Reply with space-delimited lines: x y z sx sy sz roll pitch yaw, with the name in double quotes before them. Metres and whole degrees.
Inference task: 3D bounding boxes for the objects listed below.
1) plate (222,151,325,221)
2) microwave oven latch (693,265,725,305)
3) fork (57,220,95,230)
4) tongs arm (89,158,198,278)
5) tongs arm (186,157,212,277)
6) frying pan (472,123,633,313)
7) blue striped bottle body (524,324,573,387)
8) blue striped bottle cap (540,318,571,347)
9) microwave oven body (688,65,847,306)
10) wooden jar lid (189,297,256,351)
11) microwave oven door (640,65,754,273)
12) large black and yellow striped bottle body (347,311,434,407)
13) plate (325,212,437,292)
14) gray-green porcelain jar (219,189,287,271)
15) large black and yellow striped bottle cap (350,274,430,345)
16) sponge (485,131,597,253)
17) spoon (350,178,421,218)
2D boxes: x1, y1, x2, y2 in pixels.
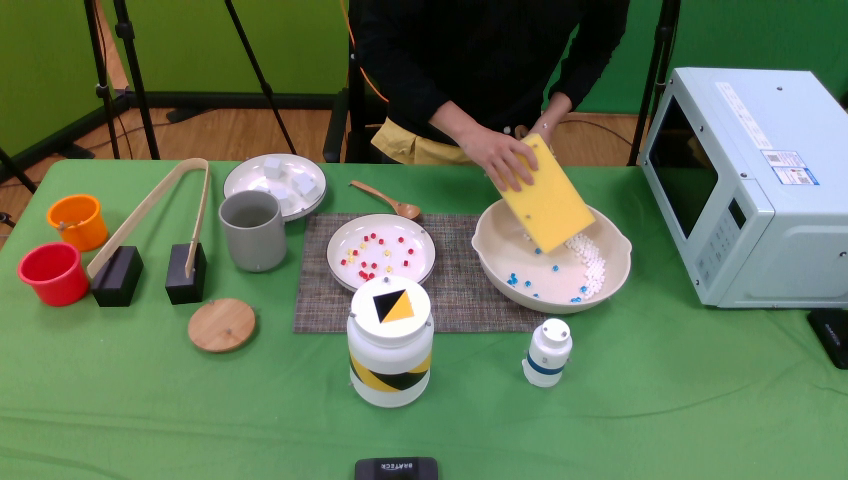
"plate" -0.310 -0.106 1.262 0.208 0.039 0.206 2 47 -2
"microwave oven latch" 0.523 0.082 1.116 0.030 0.029 0.078 2 46 -1
"fork" -0.624 -0.027 1.087 0.028 0.207 0.018 -3 92 -17
"tongs arm" -0.529 -0.057 1.164 0.028 0.028 0.385 1 36 8
"tongs arm" -0.445 -0.058 1.168 0.051 0.026 0.382 -5 37 -6
"frying pan" 0.235 -0.060 1.208 0.307 0.103 0.484 2 54 -6
"blue striped bottle body" 0.200 0.178 0.970 0.063 0.121 0.062 2 46 -1
"blue striped bottle cap" 0.203 0.142 0.933 0.044 0.021 0.044 3 49 -3
"microwave oven body" 0.669 -0.111 1.176 0.326 0.261 0.439 0 46 -3
"wooden jar lid" -0.342 0.145 1.033 0.108 0.021 0.107 2 45 -2
"microwave oven door" 0.523 -0.147 1.193 0.039 0.245 0.353 0 47 -3
"large black and yellow striped bottle body" -0.052 0.157 0.929 0.131 0.185 0.130 2 47 -2
"plate" -0.080 0.030 1.143 0.209 0.038 0.208 2 46 -2
"gray-green porcelain jar" -0.310 -0.014 1.113 0.106 0.127 0.105 2 46 -2
"large black and yellow striped bottle cap" -0.048 0.097 0.867 0.115 0.019 0.114 3 48 -3
"sponge" 0.225 -0.092 1.172 0.118 0.207 0.061 -35 8 4
"spoon" -0.084 -0.092 1.272 0.193 0.022 0.041 31 70 25
